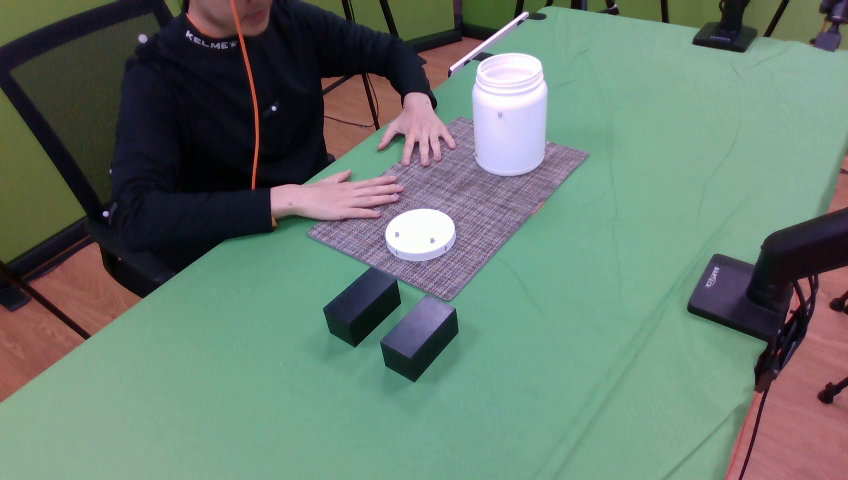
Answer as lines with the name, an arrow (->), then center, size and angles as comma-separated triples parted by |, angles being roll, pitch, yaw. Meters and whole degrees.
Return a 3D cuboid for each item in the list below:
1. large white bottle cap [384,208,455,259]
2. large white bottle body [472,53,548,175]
large white bottle cap -> -0.007, -0.012, 0.980 | 0.115, 0.018, 0.114 | -4, 40, 4
large white bottle body -> 0.152, -0.224, 1.075 | 0.130, 0.185, 0.130 | -4, 41, 4
